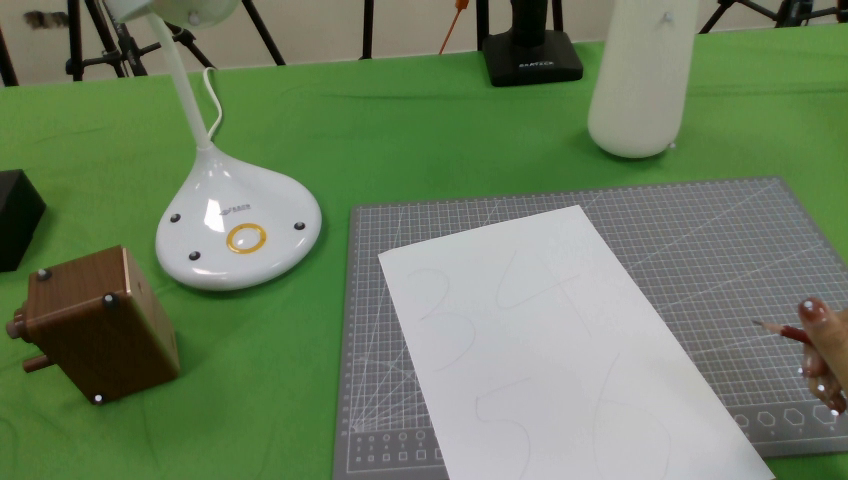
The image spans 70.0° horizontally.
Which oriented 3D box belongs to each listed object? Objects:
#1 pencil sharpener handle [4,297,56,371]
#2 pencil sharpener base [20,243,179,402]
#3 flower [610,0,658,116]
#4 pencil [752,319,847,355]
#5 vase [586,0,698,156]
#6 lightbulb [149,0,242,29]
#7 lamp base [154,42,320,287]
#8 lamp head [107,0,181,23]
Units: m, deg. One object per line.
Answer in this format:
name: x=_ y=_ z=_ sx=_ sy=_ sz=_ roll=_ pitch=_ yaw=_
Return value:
pencil sharpener handle: x=-0.295 y=0.074 z=0.448 sx=0.031 sy=0.068 sz=0.035 roll=-19 pitch=50 yaw=-14
pencil sharpener base: x=-0.247 y=0.067 z=0.469 sx=0.077 sy=0.108 sz=0.060 roll=-19 pitch=47 yaw=-14
flower: x=0.215 y=-0.229 z=0.550 sx=0.044 sy=0.364 sz=0.038 roll=37 pitch=71 yaw=18
pencil: x=0.285 y=0.075 z=0.340 sx=0.012 sy=0.012 sz=0.192 roll=-37 pitch=36 yaw=-29
vase: x=0.225 y=-0.186 z=0.623 sx=0.098 sy=0.202 sz=0.097 roll=-3 pitch=44 yaw=3
lightbulb: x=-0.138 y=-0.173 z=0.333 sx=0.059 sy=0.108 sz=0.059 roll=-15 pitch=23 yaw=7
lamp base: x=-0.196 y=-0.076 z=0.556 sx=0.161 sy=0.182 sz=0.177 roll=-27 pitch=47 yaw=-22
lamp head: x=-0.149 y=-0.196 z=0.329 sx=0.112 sy=0.124 sz=0.111 roll=-24 pitch=21 yaw=10
